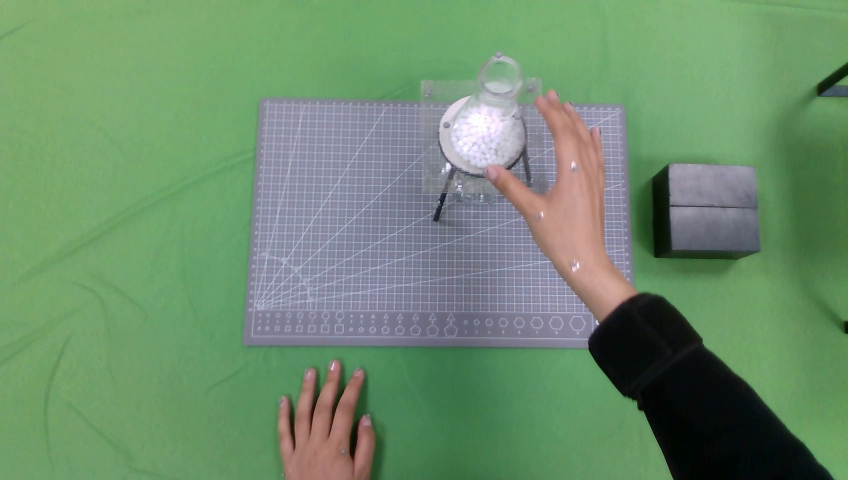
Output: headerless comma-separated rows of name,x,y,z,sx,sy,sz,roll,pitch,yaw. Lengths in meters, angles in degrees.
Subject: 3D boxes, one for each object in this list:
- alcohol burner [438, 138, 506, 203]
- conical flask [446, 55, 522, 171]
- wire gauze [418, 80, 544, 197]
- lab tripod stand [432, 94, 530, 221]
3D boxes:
alcohol burner,0.054,-0.083,0.675,0.078,0.119,0.077,0,79,1
conical flask,0.059,-0.116,0.544,0.075,0.122,0.075,0,76,0
wire gauze,0.056,-0.103,0.602,0.125,0.011,0.121,1,80,-3
lab tripod stand,0.053,-0.094,0.668,0.148,0.132,0.147,0,78,1
